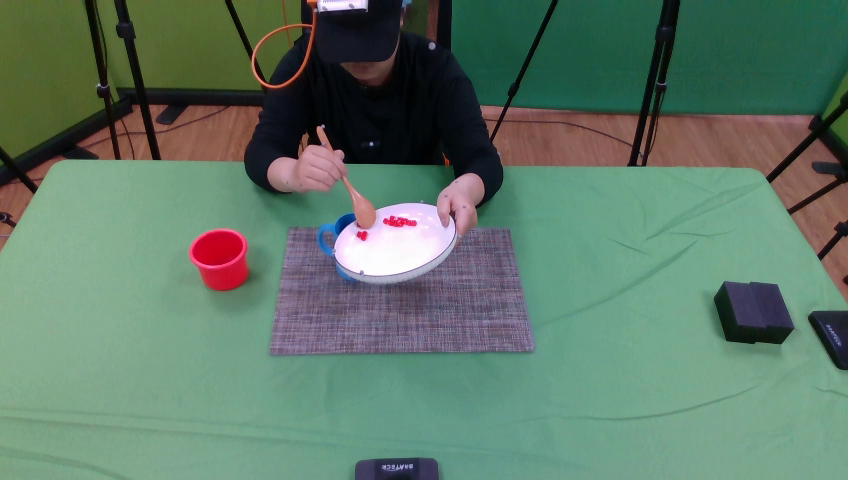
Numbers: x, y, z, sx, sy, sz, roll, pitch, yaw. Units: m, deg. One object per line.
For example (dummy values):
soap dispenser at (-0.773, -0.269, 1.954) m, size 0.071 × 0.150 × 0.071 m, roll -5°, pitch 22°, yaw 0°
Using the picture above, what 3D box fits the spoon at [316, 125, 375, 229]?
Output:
spoon at (-0.138, -0.107, 1.040) m, size 0.041 × 0.021 × 0.194 m, roll -34°, pitch 100°, yaw -28°

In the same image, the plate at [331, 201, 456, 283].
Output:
plate at (-0.048, 0.007, 1.000) m, size 0.207 × 0.039 × 0.206 m, roll -9°, pitch 34°, yaw 6°

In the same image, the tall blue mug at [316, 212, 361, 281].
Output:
tall blue mug at (-0.142, 0.014, 1.109) m, size 0.107 × 0.108 × 0.077 m, roll -5°, pitch 48°, yaw -9°
